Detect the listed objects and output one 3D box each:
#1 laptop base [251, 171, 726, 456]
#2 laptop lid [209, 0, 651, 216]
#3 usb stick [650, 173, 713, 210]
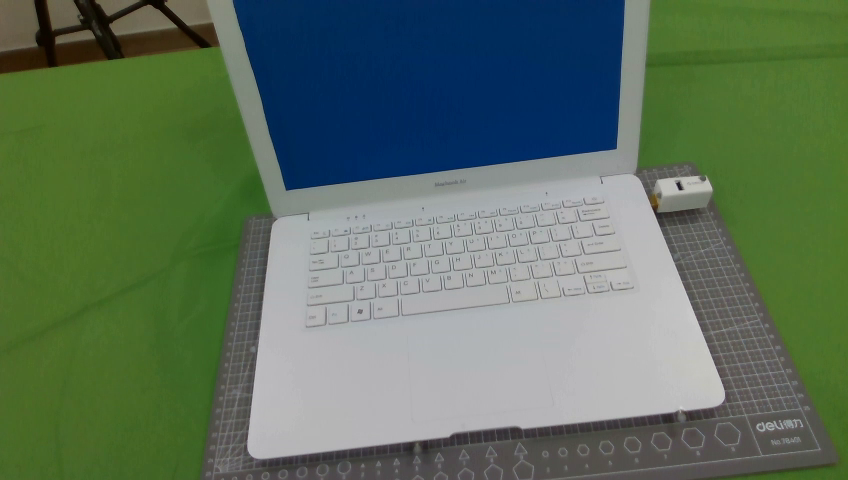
[{"bbox_3d":[0.038,0.050,0.514,0.354,0.023,0.233,-7,54,2],"label":"laptop base"},{"bbox_3d":[0.015,-0.139,0.521,0.357,0.244,0.013,-8,34,3],"label":"laptop lid"},{"bbox_3d":[0.226,-0.043,0.548,0.059,0.027,0.021,-7,53,5],"label":"usb stick"}]
